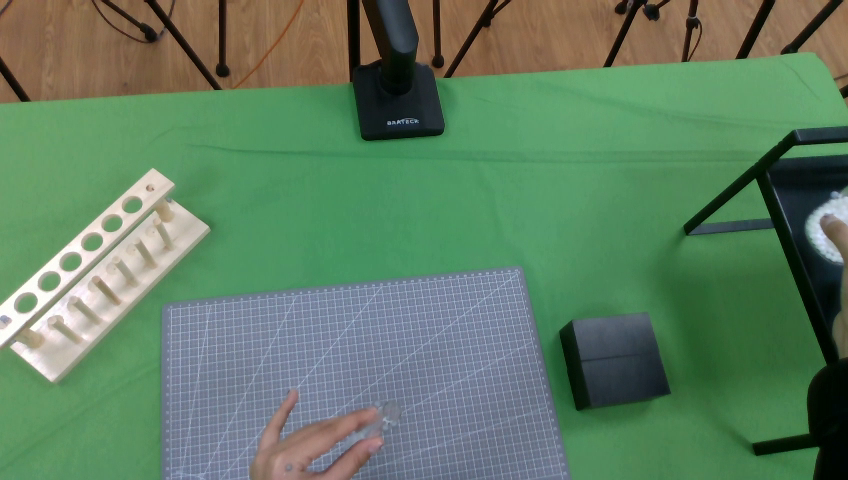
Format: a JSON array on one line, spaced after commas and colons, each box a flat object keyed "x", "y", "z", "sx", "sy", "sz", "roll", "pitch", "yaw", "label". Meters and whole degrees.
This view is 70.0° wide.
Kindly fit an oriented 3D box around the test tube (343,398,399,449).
[{"x": -0.048, "y": 0.161, "z": 0.524, "sx": 0.017, "sy": 0.151, "sz": 0.017, "roll": 9, "pitch": 60, "yaw": -16, "label": "test tube"}]

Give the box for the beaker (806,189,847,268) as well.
[{"x": 0.434, "y": -0.023, "z": 0.589, "sx": 0.083, "sy": 0.101, "sz": 0.074, "roll": 40, "pitch": 63, "yaw": 11, "label": "beaker"}]

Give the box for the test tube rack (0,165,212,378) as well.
[{"x": -0.361, "y": 0.033, "z": 0.689, "sx": 0.066, "sy": 0.085, "sz": 0.241, "roll": 36, "pitch": 67, "yaw": 9, "label": "test tube rack"}]
